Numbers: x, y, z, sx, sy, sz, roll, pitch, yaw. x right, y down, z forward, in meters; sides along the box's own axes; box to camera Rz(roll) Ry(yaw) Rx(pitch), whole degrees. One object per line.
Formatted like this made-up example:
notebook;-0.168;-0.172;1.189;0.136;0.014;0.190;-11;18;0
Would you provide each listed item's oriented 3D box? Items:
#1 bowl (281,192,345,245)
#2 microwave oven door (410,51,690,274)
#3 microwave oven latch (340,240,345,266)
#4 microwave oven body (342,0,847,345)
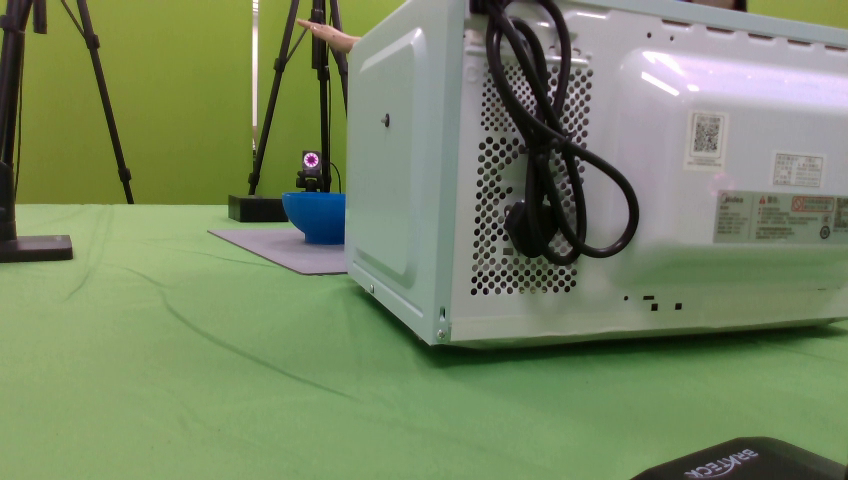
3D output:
bowl;-0.158;-0.035;0.991;0.151;0.077;0.151;3;7;0
microwave oven door;0.161;-0.084;0.723;0.357;0.243;0.039;0;8;-20
microwave oven latch;-0.052;0.016;0.662;0.079;0.029;0.030;1;7;-19
microwave oven body;0.169;-0.060;0.573;0.444;0.260;0.324;1;7;-20
